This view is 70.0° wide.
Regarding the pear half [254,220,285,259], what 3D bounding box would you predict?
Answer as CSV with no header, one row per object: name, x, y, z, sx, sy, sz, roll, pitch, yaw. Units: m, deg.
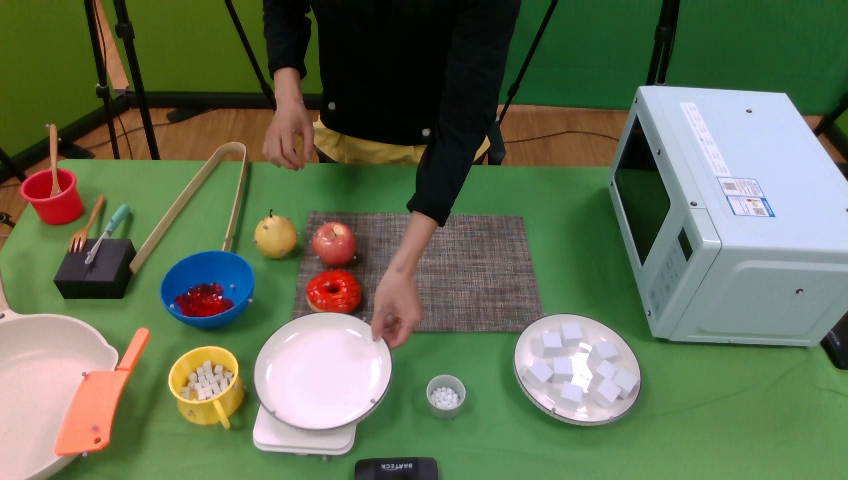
pear half,-0.294,0.003,1.127,0.070,0.088,0.031,25,49,16

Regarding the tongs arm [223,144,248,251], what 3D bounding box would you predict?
tongs arm,-0.398,-0.072,1.232,0.051,0.027,0.382,-3,45,0

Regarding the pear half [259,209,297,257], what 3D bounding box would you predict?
pear half,-0.273,-0.024,1.141,0.076,0.110,0.056,27,50,16

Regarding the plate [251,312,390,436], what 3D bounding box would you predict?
plate,-0.157,0.205,0.927,0.209,0.038,0.208,3,48,-3

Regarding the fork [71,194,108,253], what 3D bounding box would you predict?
fork,-0.634,-0.036,1.158,0.028,0.019,0.206,-7,31,-8

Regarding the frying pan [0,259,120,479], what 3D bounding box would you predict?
frying pan,-0.647,0.164,0.936,0.307,0.103,0.485,-19,58,-22

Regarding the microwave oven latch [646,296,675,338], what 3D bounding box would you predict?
microwave oven latch,0.412,0.134,1.061,0.030,0.029,0.078,4,45,1

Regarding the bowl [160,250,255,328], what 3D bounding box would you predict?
bowl,-0.362,0.098,1.040,0.151,0.077,0.150,2,45,-2

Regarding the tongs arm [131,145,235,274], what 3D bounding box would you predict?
tongs arm,-0.484,-0.076,1.235,0.028,0.028,0.385,5,44,13

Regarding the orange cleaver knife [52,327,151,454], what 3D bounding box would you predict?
orange cleaver knife,-0.462,0.212,0.879,0.077,0.012,0.210,6,45,-2

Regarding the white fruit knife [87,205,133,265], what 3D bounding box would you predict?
white fruit knife,-0.584,-0.013,1.129,0.016,0.027,0.206,-1,31,-4

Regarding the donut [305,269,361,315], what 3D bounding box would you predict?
donut,-0.161,0.094,1.075,0.099,0.048,0.098,4,46,-4

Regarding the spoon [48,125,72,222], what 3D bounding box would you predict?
spoon,-0.718,-0.131,1.189,0.041,0.021,0.193,-3,90,-7

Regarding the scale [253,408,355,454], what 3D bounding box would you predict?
scale,-0.175,0.237,0.951,0.149,0.032,0.199,5,45,-1

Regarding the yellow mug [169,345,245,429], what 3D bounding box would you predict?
yellow mug,-0.323,0.230,0.922,0.100,0.064,0.130,-24,53,-25

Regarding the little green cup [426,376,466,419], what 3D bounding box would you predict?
little green cup,0.033,0.248,0.950,0.061,0.039,0.061,2,46,-2

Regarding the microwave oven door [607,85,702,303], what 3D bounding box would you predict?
microwave oven door,0.423,-0.094,1.140,0.039,0.245,0.353,2,46,-1

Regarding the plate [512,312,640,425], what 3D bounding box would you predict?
plate,0.246,0.213,0.999,0.208,0.039,0.206,2,46,-2

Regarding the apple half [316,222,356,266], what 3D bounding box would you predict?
apple half,-0.157,0.015,1.132,0.053,0.075,0.080,28,47,18

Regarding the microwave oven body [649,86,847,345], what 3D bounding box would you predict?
microwave oven body,0.567,-0.053,1.118,0.326,0.261,0.439,2,45,-1

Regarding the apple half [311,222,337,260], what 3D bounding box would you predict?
apple half,-0.190,-0.001,1.143,0.032,0.081,0.081,28,51,18
